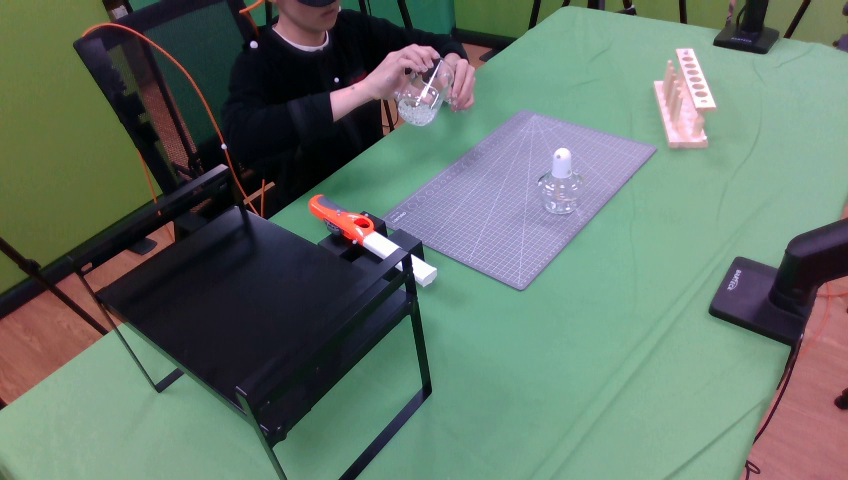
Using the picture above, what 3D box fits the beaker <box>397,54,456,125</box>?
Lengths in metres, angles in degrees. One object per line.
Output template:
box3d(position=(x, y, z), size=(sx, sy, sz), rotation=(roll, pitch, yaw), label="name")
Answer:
box3d(position=(0.003, -0.247, 1.010), size=(0.073, 0.084, 0.100), rotation=(8, 57, 27), label="beaker")

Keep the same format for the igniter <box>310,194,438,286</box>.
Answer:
box3d(position=(-0.087, -0.007, 0.921), size=(0.274, 0.025, 0.057), rotation=(31, 50, 34), label="igniter")

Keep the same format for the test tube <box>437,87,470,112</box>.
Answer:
box3d(position=(0.058, -0.260, 1.131), size=(0.017, 0.017, 0.151), rotation=(12, 4, 22), label="test tube")

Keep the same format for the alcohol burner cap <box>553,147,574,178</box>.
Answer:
box3d(position=(0.224, -0.125, 0.965), size=(0.034, 0.048, 0.033), rotation=(-5, 44, 5), label="alcohol burner cap")

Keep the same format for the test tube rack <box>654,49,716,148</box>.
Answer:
box3d(position=(0.502, -0.281, 1.176), size=(0.066, 0.085, 0.241), rotation=(2, 41, 11), label="test tube rack")

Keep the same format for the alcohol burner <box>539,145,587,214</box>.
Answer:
box3d(position=(0.226, -0.102, 0.986), size=(0.078, 0.119, 0.077), rotation=(-6, 41, 6), label="alcohol burner")
